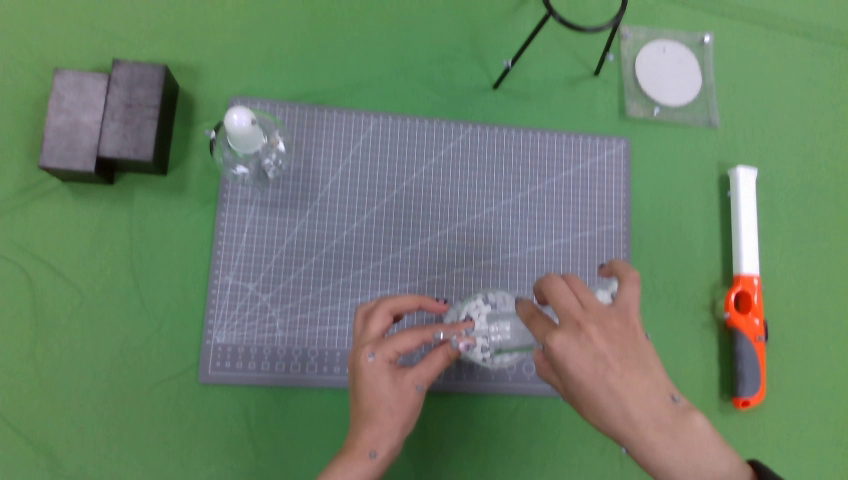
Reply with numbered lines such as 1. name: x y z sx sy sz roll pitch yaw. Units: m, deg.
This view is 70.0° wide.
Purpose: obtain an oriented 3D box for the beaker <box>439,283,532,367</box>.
1. beaker: 0.059 0.082 0.598 0.084 0.100 0.074 -39 89 -12

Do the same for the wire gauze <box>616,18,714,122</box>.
1. wire gauze: 0.290 -0.206 0.725 0.125 0.011 0.121 3 82 -10

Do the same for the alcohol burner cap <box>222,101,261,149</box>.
1. alcohol burner cap: -0.166 -0.107 0.546 0.034 0.048 0.033 3 74 -10

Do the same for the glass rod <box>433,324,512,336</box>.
1. glass rod: 0.048 0.078 0.526 0.008 0.201 0.008 -3 82 23

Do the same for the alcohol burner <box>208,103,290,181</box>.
1. alcohol burner: -0.171 -0.099 0.581 0.078 0.119 0.077 1 81 -6

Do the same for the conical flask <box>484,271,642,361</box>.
1. conical flask: 0.113 0.069 0.506 0.122 0.075 0.075 -8 82 5

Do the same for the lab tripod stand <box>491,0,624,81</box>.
1. lab tripod stand: 0.141 -0.236 0.643 0.149 0.131 0.148 1 83 -8

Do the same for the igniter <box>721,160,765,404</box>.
1. igniter: 0.362 0.045 0.689 0.057 0.025 0.275 6 81 -19
